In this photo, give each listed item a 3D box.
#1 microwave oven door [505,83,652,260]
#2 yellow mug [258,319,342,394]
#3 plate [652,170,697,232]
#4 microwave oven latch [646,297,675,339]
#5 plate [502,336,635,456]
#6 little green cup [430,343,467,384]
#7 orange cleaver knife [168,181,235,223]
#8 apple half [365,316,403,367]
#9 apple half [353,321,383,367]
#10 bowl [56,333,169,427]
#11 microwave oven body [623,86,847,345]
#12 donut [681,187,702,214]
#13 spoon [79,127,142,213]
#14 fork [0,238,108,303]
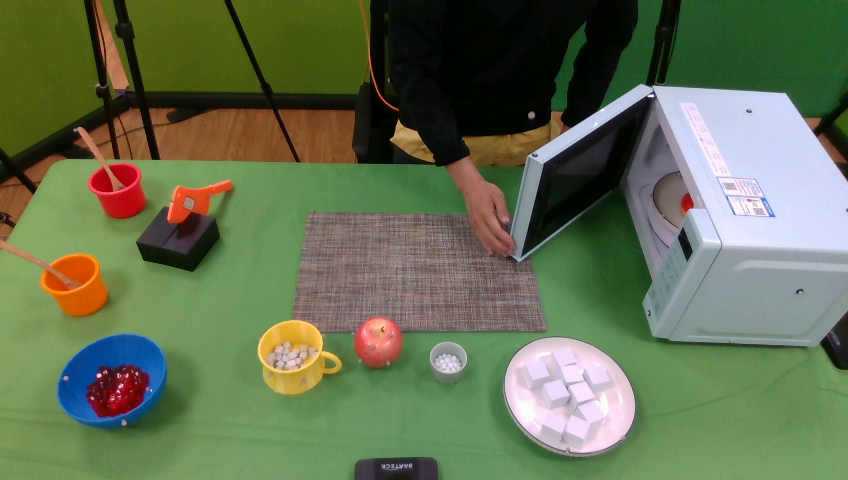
[{"bbox_3d":[0.303,-0.136,1.172,0.356,0.245,0.039,-33,57,-30],"label":"microwave oven door"},{"bbox_3d":[-0.195,0.188,0.972,0.131,0.064,0.099,9,47,4],"label":"yellow mug"},{"bbox_3d":[0.555,-0.059,1.196,0.209,0.038,0.208,2,46,-2],"label":"plate"},{"bbox_3d":[0.412,0.134,1.061,0.030,0.029,0.078,4,45,1],"label":"microwave oven latch"},{"bbox_3d":[0.225,0.248,0.963,0.208,0.039,0.206,2,46,-2],"label":"plate"},{"bbox_3d":[0.039,0.203,0.994,0.061,0.039,0.061,2,46,-2],"label":"little green cup"},{"bbox_3d":[-0.436,-0.078,1.196,0.012,0.077,0.211,16,15,10],"label":"orange cleaver knife"},{"bbox_3d":[-0.063,0.165,1.000,0.053,0.075,0.080,-16,45,-24],"label":"apple half"},{"bbox_3d":[-0.097,0.177,0.984,0.033,0.081,0.081,-16,49,-25],"label":"apple half"},{"bbox_3d":[-0.456,0.223,0.912,0.151,0.077,0.150,3,46,-2],"label":"bowl"},{"bbox_3d":[0.567,-0.053,1.118,0.326,0.261,0.439,2,45,-1],"label":"microwave oven body"},{"bbox_3d":[0.553,-0.066,1.184,0.099,0.048,0.098,2,47,-2],"label":"donut"},{"bbox_3d":[-0.624,-0.139,1.203,0.041,0.021,0.194,-33,101,-26],"label":"spoon"},{"bbox_3d":[-0.633,0.048,1.017,0.208,0.018,0.028,40,41,-27],"label":"fork"}]
